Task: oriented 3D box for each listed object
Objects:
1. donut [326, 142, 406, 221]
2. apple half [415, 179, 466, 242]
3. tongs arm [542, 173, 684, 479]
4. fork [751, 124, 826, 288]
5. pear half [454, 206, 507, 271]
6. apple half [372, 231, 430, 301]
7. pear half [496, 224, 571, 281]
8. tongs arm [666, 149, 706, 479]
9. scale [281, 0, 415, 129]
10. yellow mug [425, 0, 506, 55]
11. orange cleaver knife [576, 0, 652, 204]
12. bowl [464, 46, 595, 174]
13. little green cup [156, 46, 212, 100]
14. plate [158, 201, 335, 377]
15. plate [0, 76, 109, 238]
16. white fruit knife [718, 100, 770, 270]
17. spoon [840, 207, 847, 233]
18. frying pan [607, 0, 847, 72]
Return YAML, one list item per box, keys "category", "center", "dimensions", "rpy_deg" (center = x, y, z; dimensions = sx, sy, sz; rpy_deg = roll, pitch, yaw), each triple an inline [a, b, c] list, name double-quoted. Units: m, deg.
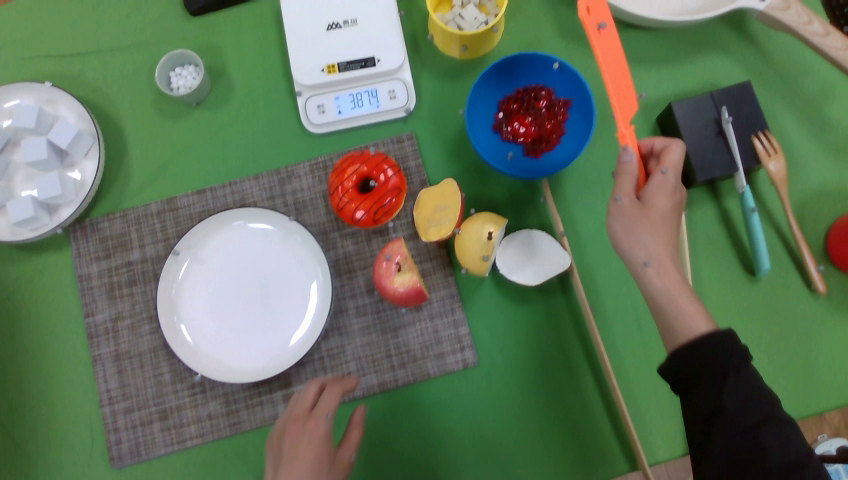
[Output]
- category: "donut"
  center: [-0.071, -0.071, 0.737]
  dimensions: [0.099, 0.048, 0.098]
  rpy_deg: [-1, 82, 4]
- category: "apple half"
  center: [0.028, -0.035, 0.735]
  dimensions: [0.033, 0.081, 0.081]
  rpy_deg: [-14, 77, -44]
- category: "tongs arm"
  center: [0.219, 0.097, 0.711]
  dimensions: [0.051, 0.026, 0.383]
  rpy_deg: [-15, 82, -5]
- category: "fork"
  center: [0.430, -0.039, 0.710]
  dimensions: [0.028, 0.018, 0.207]
  rpy_deg: [-24, 96, -9]
- category: "pear half"
  center: [0.062, -0.007, 0.694]
  dimensions: [0.056, 0.110, 0.076]
  rpy_deg: [16, 77, 5]
- category: "apple half"
  center: [-0.032, 0.036, 0.705]
  dimensions: [0.053, 0.075, 0.080]
  rpy_deg: [-26, 85, 2]
- category: "pear half"
  center: [0.133, 0.018, 0.727]
  dimensions: [0.087, 0.031, 0.070]
  rpy_deg: [9, 79, 18]
- category: "tongs arm"
  center: [0.303, 0.082, 0.714]
  dimensions: [0.028, 0.028, 0.386]
  rpy_deg: [0, 81, -6]
- category: "scale"
  center: [-0.099, -0.250, 0.776]
  dimensions: [0.149, 0.031, 0.200]
  rpy_deg: [-11, 81, 1]
- category: "yellow mug"
  center: [0.040, -0.304, 0.763]
  dimensions: [0.130, 0.064, 0.100]
  rpy_deg: [41, 85, 8]
- category: "orange cleaver knife"
  center: [0.183, -0.137, 0.562]
  dimensions: [0.012, 0.077, 0.212]
  rpy_deg: [-8, 113, 40]
- category: "bowl"
  center: [0.122, -0.145, 0.730]
  dimensions: [0.151, 0.077, 0.151]
  rpy_deg: [0, 82, 2]
- category: "little green cup"
  center: [-0.303, -0.210, 0.773]
  dimensions: [0.061, 0.039, 0.061]
  rpy_deg: [0, 81, 2]
- category: "plate"
  center: [-0.207, 0.058, 0.724]
  dimensions: [0.209, 0.038, 0.208]
  rpy_deg: [0, 81, 2]
- category: "plate"
  center: [-0.496, -0.102, 0.762]
  dimensions: [0.207, 0.039, 0.207]
  rpy_deg: [0, 81, 2]
- category: "white fruit knife"
  center: [0.372, -0.063, 0.709]
  dimensions: [0.016, 0.027, 0.207]
  rpy_deg: [-18, 96, 0]
- category: "spoon"
  center: [0.534, 0.021, 0.657]
  dimensions: [0.041, 0.022, 0.191]
  rpy_deg: [-21, 37, -2]
- category: "frying pan"
  center: [0.370, -0.330, 0.737]
  dimensions: [0.307, 0.103, 0.485]
  rpy_deg: [-42, 74, -4]
